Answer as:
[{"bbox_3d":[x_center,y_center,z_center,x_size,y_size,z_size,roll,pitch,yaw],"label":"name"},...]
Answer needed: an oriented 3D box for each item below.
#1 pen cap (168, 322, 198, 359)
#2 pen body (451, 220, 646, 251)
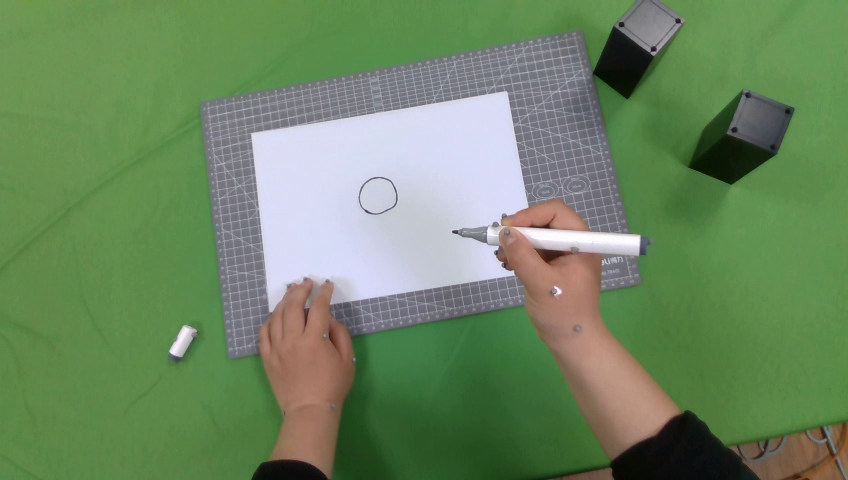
[{"bbox_3d":[-0.262,0.109,0.656,0.017,0.017,0.038,27,82,8],"label":"pen cap"},{"bbox_3d":[0.088,-0.004,0.449,0.143,0.017,0.017,4,80,21],"label":"pen body"}]
